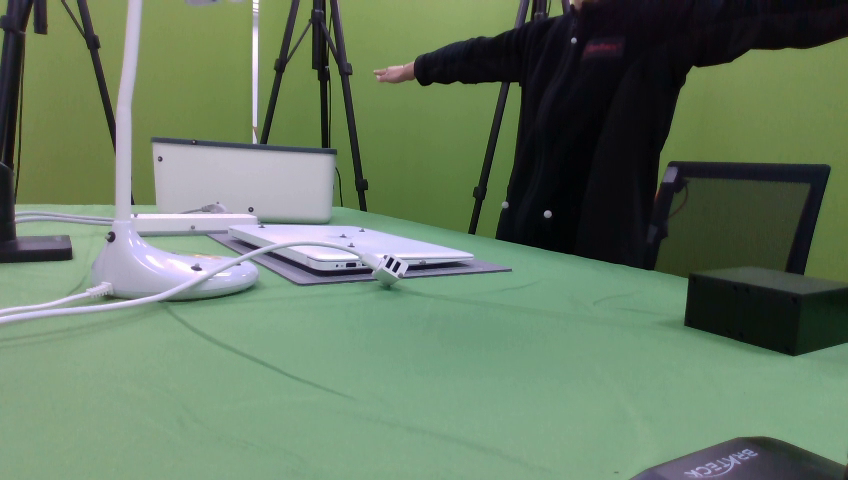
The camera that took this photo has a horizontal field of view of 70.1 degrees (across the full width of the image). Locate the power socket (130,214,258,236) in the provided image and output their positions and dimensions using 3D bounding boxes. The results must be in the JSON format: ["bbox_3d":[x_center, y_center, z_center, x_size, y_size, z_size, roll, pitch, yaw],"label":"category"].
[{"bbox_3d":[-0.398,-0.028,1.049,0.228,0.032,0.072,-3,7,-34],"label":"power socket"}]

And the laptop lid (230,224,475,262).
[{"bbox_3d":[-0.119,0.000,0.888,0.243,0.013,0.355,1,7,-33],"label":"laptop lid"}]

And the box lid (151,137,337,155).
[{"bbox_3d":[-0.379,-0.203,1.334,0.372,0.015,0.262,2,7,-9],"label":"box lid"}]

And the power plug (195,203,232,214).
[{"bbox_3d":[-0.392,-0.043,1.140,0.072,0.052,0.035,-11,2,36],"label":"power plug"}]

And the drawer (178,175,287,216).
[{"bbox_3d":[-0.414,-0.103,1.341,0.212,0.073,0.194,5,6,-11],"label":"drawer"}]

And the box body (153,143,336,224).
[{"bbox_3d":[-0.380,-0.130,1.344,0.365,0.160,0.253,1,7,-9],"label":"box body"}]

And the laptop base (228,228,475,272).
[{"bbox_3d":[-0.122,0.011,0.889,0.237,0.023,0.352,1,7,-35],"label":"laptop base"}]

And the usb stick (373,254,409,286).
[{"bbox_3d":[-0.039,0.035,0.663,0.027,0.021,0.059,29,-22,-7],"label":"usb stick"}]

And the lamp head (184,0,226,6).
[{"bbox_3d":[-0.229,-0.320,0.627,0.112,0.112,0.123,6,-35,26],"label":"lamp head"}]

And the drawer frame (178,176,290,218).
[{"bbox_3d":[-0.409,-0.099,1.340,0.214,0.082,0.201,-4,7,-10],"label":"drawer frame"}]

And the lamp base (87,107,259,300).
[{"bbox_3d":[-0.254,-0.039,0.603,0.160,0.180,0.179,5,10,18],"label":"lamp base"}]

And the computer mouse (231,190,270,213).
[{"bbox_3d":[-0.382,-0.086,1.342,0.063,0.041,0.117,10,10,-4],"label":"computer mouse"}]
